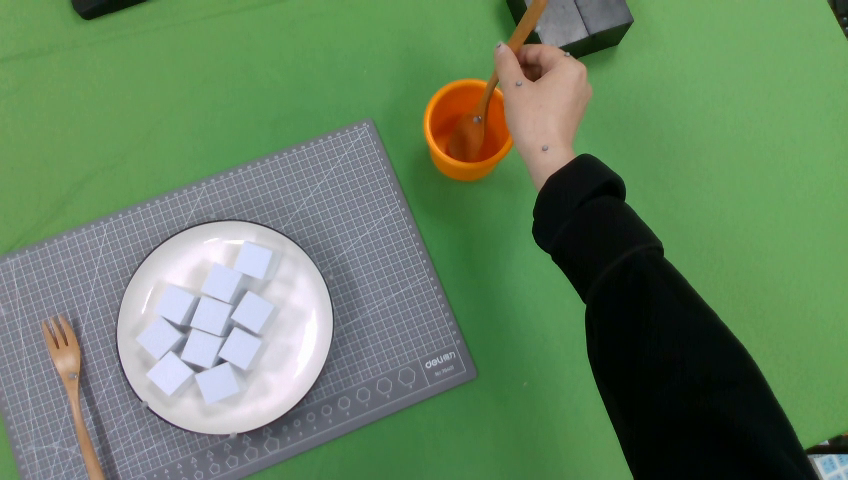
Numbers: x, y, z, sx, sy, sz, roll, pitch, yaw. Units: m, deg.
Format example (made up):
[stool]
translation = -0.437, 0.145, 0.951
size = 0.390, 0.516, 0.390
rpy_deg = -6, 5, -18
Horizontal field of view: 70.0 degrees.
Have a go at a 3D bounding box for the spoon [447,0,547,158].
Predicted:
[spoon]
translation = 0.065, -0.147, 0.562
size = 0.022, 0.194, 0.041
rpy_deg = -20, 67, -31

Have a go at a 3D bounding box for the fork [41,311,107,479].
[fork]
translation = -0.334, 0.169, 0.591
size = 0.028, 0.019, 0.206
rpy_deg = -19, 80, -10

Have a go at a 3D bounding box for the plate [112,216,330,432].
[plate]
translation = -0.195, 0.081, 0.599
size = 0.208, 0.039, 0.207
rpy_deg = 0, 81, -2
